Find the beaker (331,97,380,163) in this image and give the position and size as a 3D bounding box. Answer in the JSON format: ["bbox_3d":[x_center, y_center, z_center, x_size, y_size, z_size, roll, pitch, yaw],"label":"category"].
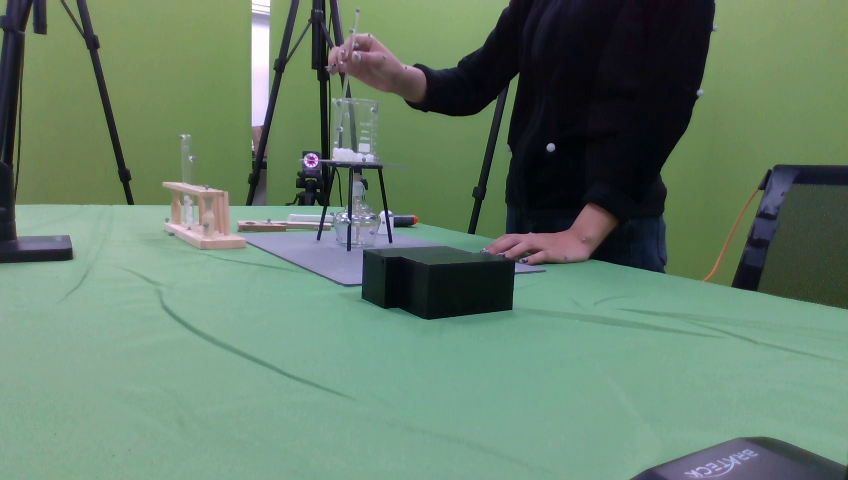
[{"bbox_3d":[-0.111,-0.171,0.950,0.073,0.100,0.084,12,12,42],"label":"beaker"}]

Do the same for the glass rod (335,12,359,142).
[{"bbox_3d":[-0.119,-0.249,0.930,0.008,0.199,0.008,10,5,0],"label":"glass rod"}]

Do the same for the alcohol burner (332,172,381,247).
[{"bbox_3d":[-0.107,-0.048,0.961,0.078,0.119,0.078,1,9,0],"label":"alcohol burner"}]

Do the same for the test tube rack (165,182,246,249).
[{"bbox_3d":[-0.360,-0.044,0.982,0.067,0.085,0.241,-3,9,-34],"label":"test tube rack"}]

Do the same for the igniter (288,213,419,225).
[{"bbox_3d":[-0.145,-0.044,1.278,0.278,0.025,0.057,-1,-2,-21],"label":"igniter"}]

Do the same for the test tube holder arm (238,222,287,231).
[{"bbox_3d":[-0.296,-0.024,1.112,0.088,0.015,0.010,-1,40,-32],"label":"test tube holder arm"}]

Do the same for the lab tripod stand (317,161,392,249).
[{"bbox_3d":[-0.111,-0.059,0.964,0.148,0.131,0.148,4,8,0],"label":"lab tripod stand"}]

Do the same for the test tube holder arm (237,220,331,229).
[{"bbox_3d":[-0.260,-0.028,1.140,0.179,0.015,0.013,-1,40,-32],"label":"test tube holder arm"}]

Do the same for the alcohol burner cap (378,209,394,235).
[{"bbox_3d":[-0.072,-0.035,1.145,0.034,0.048,0.034,2,7,0],"label":"alcohol burner cap"}]

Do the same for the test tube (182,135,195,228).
[{"bbox_3d":[-0.382,-0.095,0.983,0.017,0.150,0.017,-1,2,0],"label":"test tube"}]

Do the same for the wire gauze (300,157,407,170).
[{"bbox_3d":[-0.112,-0.124,0.959,0.121,0.011,0.126,13,11,40],"label":"wire gauze"}]
